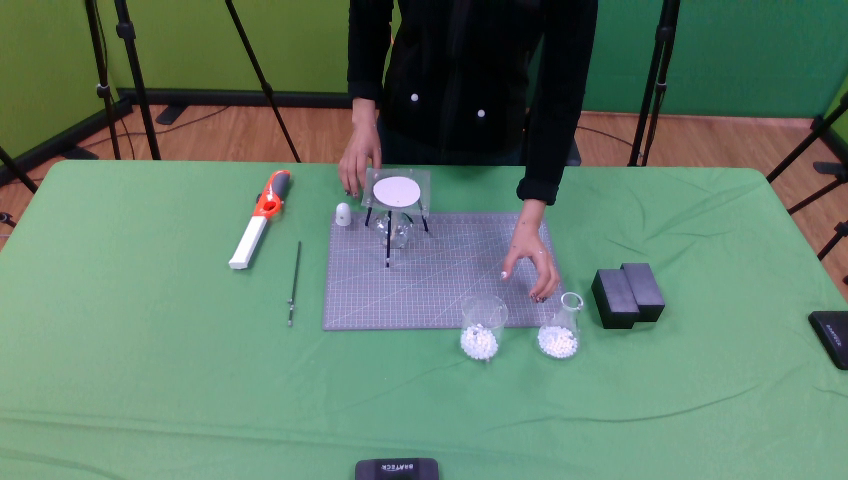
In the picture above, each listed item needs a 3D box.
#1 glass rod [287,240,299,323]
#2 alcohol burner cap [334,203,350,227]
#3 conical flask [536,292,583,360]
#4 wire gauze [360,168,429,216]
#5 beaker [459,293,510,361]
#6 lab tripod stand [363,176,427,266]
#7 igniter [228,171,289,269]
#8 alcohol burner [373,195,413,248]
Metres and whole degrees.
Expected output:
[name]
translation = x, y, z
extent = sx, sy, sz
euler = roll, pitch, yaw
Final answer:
[glass rod]
translation = -0.242, 0.072, 1.119
extent = 0.008, 0.008, 0.198
euler = -1, 47, -5
[alcohol burner cap]
translation = -0.166, -0.054, 1.221
extent = 0.034, 0.048, 0.033
euler = 2, 46, -2
[conical flask]
translation = 0.234, 0.139, 1.015
extent = 0.075, 0.122, 0.075
euler = 2, 46, -2
[wire gauze]
translation = -0.052, -0.093, 1.110
extent = 0.125, 0.011, 0.120
euler = 5, 44, -2
[beaker]
translation = 0.095, 0.147, 1.012
extent = 0.083, 0.101, 0.074
euler = 26, 49, 21
[lab tripod stand]
translation = -0.058, -0.047, 1.159
extent = 0.148, 0.132, 0.147
euler = 3, 44, -2
[igniter]
translation = -0.328, -0.049, 1.218
extent = 0.057, 0.025, 0.275
euler = 1, 45, 11
[alcohol burner]
translation = -0.059, -0.041, 1.167
extent = 0.078, 0.119, 0.077
euler = 4, 46, -4
